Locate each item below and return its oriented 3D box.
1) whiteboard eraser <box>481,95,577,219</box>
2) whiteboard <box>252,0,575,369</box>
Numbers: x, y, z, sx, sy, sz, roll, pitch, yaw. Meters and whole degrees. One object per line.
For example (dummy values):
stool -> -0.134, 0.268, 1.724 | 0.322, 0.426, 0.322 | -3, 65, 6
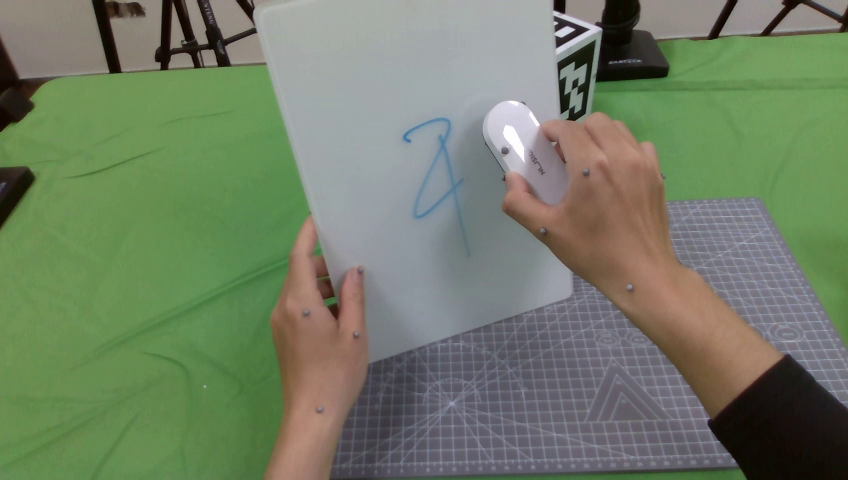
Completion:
whiteboard eraser -> 0.079, -0.062, 0.457 | 0.041, 0.019, 0.101 | -34, 96, -16
whiteboard -> -0.004, -0.078, 0.542 | 0.217, 0.308, 0.142 | -17, 27, -11
